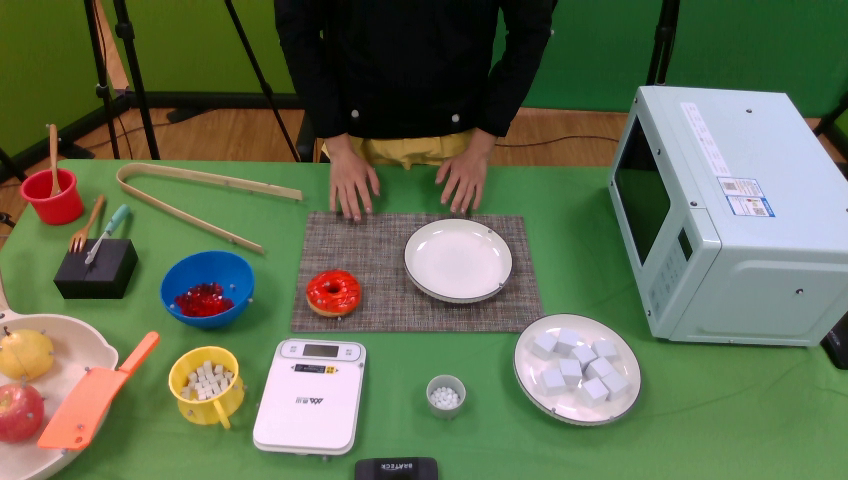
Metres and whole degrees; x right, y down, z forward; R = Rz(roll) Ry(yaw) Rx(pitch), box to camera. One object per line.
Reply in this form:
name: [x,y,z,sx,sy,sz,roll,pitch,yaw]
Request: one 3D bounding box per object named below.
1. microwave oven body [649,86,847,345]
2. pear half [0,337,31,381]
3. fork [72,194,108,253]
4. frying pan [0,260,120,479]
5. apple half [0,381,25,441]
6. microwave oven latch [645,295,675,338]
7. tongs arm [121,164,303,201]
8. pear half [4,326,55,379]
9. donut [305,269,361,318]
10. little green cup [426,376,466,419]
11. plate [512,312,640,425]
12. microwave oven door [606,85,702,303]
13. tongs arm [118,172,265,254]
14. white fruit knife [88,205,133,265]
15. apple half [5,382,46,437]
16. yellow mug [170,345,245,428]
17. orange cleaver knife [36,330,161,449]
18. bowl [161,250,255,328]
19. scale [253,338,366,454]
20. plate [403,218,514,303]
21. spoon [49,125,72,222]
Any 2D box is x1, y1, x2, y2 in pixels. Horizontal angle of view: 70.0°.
microwave oven body: [0.567,-0.053,1.118,0.326,0.261,0.439,2,45,-1]
pear half: [-0.632,0.185,0.920,0.070,0.088,0.031,30,49,20]
fork: [-0.634,-0.036,1.158,0.028,0.019,0.206,-8,32,-8]
frying pan: [-0.647,0.164,0.936,0.307,0.103,0.485,-19,58,-22]
apple half: [-0.605,0.250,0.871,0.053,0.075,0.080,-9,51,-7]
microwave oven latch: [0.412,0.134,1.061,0.030,0.029,0.078,3,45,0]
tongs arm: [-0.444,-0.114,1.266,0.384,0.026,0.050,12,51,7]
pear half: [-0.609,0.159,0.934,0.076,0.110,0.056,32,52,20]
donut: [-0.160,0.094,1.075,0.099,0.048,0.098,3,45,-3]
little green cup: [0.033,0.248,0.950,0.061,0.039,0.061,2,46,-2]
plate: [0.246,0.213,0.999,0.208,0.039,0.206,2,46,-2]
microwave oven door: [0.422,-0.094,1.140,0.039,0.245,0.353,2,46,-1]
tongs arm: [-0.473,-0.054,1.211,0.386,0.028,0.028,23,57,17]
white fruit knife: [-0.584,-0.013,1.129,0.016,0.027,0.206,0,32,-5]
apple half: [-0.567,0.244,0.877,0.033,0.082,0.080,-9,47,-7]
yellow mug: [-0.322,0.230,0.922,0.100,0.064,0.130,-24,53,-25]
orange cleaver knife: [-0.466,0.210,0.880,0.077,0.012,0.210,15,46,9]
bowl: [-0.362,0.098,1.040,0.151,0.077,0.150,2,45,-2]
scale: [-0.175,0.236,0.951,0.149,0.032,0.199,4,45,0]
plate: [0.064,0.042,1.146,0.209,0.038,0.208,2,46,-2]
spoon: [-0.718,-0.131,1.189,0.041,0.021,0.193,-4,90,-6]
